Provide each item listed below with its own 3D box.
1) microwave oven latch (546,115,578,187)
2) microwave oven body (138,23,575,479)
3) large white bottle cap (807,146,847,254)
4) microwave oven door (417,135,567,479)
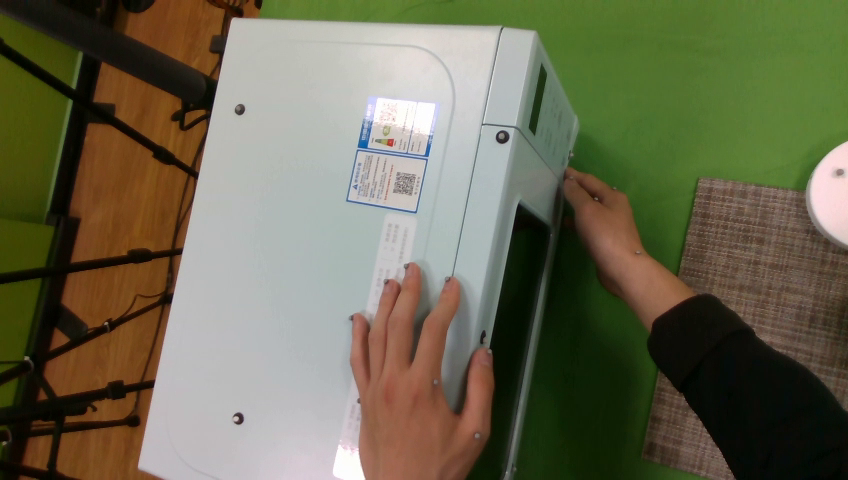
[{"bbox_3d":[0.148,-0.098,0.669,0.030,0.030,0.079,16,90,23],"label":"microwave oven latch"},{"bbox_3d":[-0.056,0.041,0.629,0.324,0.262,0.441,10,88,23],"label":"microwave oven body"},{"bbox_3d":[0.429,-0.039,0.572,0.114,0.018,0.114,-3,81,21],"label":"large white bottle cap"},{"bbox_3d":[0.066,0.105,0.566,0.039,0.245,0.355,10,87,24],"label":"microwave oven door"}]
